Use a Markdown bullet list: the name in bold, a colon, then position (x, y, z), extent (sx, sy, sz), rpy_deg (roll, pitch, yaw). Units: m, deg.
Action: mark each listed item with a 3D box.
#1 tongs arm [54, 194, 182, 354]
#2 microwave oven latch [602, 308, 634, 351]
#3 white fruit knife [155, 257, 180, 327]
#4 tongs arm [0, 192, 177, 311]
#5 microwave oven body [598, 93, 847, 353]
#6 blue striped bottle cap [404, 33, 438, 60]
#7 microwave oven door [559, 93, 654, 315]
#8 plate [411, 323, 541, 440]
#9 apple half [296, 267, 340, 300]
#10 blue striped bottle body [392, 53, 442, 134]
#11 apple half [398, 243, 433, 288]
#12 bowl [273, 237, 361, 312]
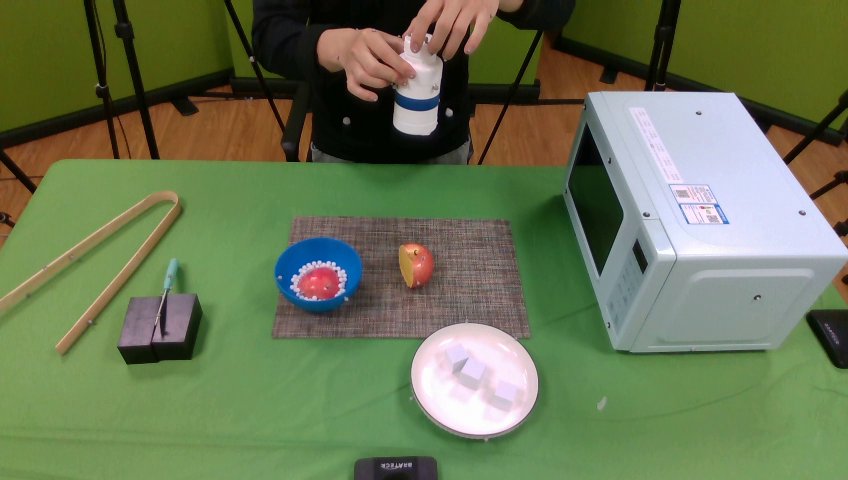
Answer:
- **tongs arm**: position (-0.543, 0.048, 1.108), extent (0.028, 0.028, 0.385), rpy_deg (11, 45, 10)
- **microwave oven latch**: position (0.332, 0.153, 1.044), extent (0.030, 0.029, 0.078), rpy_deg (-1, 45, -4)
- **white fruit knife**: position (-0.440, 0.085, 1.037), extent (0.016, 0.027, 0.206), rpy_deg (10, 26, -19)
- **tongs arm**: position (-0.618, 0.019, 1.124), extent (0.050, 0.026, 0.384), rpy_deg (24, 47, 16)
- **microwave oven body**: position (0.475, -0.041, 1.109), extent (0.326, 0.261, 0.438), rpy_deg (-1, 45, -4)
- **blue striped bottle cap**: position (-0.004, -0.255, 0.796), extent (0.044, 0.021, 0.044), rpy_deg (4, 41, -3)
- **microwave oven door**: position (0.327, -0.074, 1.123), extent (0.039, 0.245, 0.353), rpy_deg (0, 46, -5)
- **plate**: position (0.082, 0.228, 0.976), extent (0.208, 0.039, 0.206), rpy_deg (2, 45, -2)
- **apple half**: position (-0.187, 0.070, 1.067), extent (0.081, 0.033, 0.081), rpy_deg (2, 47, -2)
- **blue striped bottle body**: position (-0.009, -0.212, 0.830), extent (0.063, 0.121, 0.062), rpy_deg (4, 38, -3)
- **apple half**: position (-0.012, 0.046, 1.115), extent (0.053, 0.075, 0.080), rpy_deg (-11, 44, -19)
- **bowl**: position (-0.186, 0.074, 1.069), extent (0.151, 0.077, 0.150), rpy_deg (3, 46, -3)
